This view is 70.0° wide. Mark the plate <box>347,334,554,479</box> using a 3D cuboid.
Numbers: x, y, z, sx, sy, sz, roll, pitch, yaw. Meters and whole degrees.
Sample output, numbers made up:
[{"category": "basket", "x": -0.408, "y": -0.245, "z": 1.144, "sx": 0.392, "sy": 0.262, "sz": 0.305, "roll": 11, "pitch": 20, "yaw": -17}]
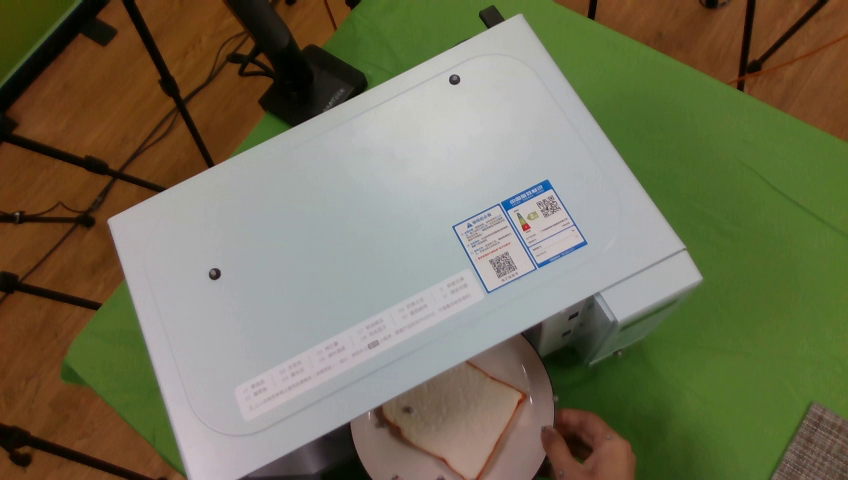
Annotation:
[{"category": "plate", "x": 0.026, "y": 0.171, "z": 0.616, "sx": 0.207, "sy": 0.039, "sz": 0.206, "roll": -2, "pitch": 73, "yaw": 7}]

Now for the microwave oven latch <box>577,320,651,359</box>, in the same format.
[{"category": "microwave oven latch", "x": 0.213, "y": 0.104, "z": 0.680, "sx": 0.079, "sy": 0.030, "sz": 0.030, "roll": -26, "pitch": 70, "yaw": -1}]

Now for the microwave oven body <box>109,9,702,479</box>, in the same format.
[{"category": "microwave oven body", "x": -0.023, "y": 0.031, "z": 0.635, "sx": 0.442, "sy": 0.262, "sz": 0.323, "roll": -28, "pitch": 70, "yaw": -1}]

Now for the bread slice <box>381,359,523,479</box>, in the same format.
[{"category": "bread slice", "x": 0.020, "y": 0.167, "z": 0.620, "sx": 0.131, "sy": 0.019, "sz": 0.104, "roll": 28, "pitch": 77, "yaw": 13}]

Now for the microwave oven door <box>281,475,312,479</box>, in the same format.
[{"category": "microwave oven door", "x": 0.003, "y": 0.303, "z": 0.531, "sx": 0.354, "sy": 0.245, "sz": 0.039, "roll": 20, "pitch": 74, "yaw": 14}]
